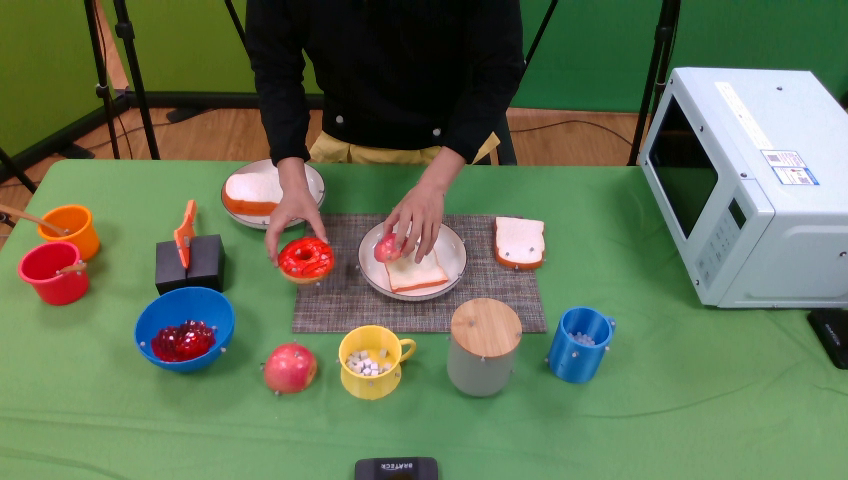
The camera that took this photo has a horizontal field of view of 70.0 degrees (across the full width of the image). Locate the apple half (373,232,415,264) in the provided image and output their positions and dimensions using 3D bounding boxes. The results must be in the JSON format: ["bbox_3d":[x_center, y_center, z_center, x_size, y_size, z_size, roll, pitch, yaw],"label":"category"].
[{"bbox_3d":[-0.060,0.005,1.082,0.081,0.033,0.081,-10,34,7],"label":"apple half"}]

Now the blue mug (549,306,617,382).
[{"bbox_3d":[0.269,0.166,0.998,0.116,0.106,0.082,-19,51,-21],"label":"blue mug"}]

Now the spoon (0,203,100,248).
[{"bbox_3d":[-0.683,-0.031,1.088,0.195,0.021,0.041,33,33,-38],"label":"spoon"}]

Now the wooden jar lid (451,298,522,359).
[{"bbox_3d":[0.093,0.135,0.914,0.108,0.021,0.107,2,48,-3],"label":"wooden jar lid"}]

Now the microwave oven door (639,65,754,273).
[{"bbox_3d":[0.522,-0.147,1.192,0.039,0.245,0.353,0,47,-3],"label":"microwave oven door"}]

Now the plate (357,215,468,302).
[{"bbox_3d":[-0.021,0.037,1.141,0.208,0.039,0.206,2,46,-2],"label":"plate"}]

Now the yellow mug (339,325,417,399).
[{"bbox_3d":[-0.072,0.190,0.978,0.131,0.064,0.099,-17,50,-20],"label":"yellow mug"}]

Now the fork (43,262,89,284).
[{"bbox_3d":[-0.599,0.053,1.013,0.207,0.019,0.028,-14,30,45],"label":"fork"}]

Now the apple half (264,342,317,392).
[{"bbox_3d":[-0.214,0.198,0.970,0.074,0.053,0.080,19,48,10],"label":"apple half"}]

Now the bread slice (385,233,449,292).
[{"bbox_3d":[-0.026,0.039,1.140,0.107,0.018,0.133,-12,47,-15],"label":"bread slice"}]

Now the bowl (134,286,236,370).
[{"bbox_3d":[-0.377,0.155,0.981,0.151,0.077,0.150,2,46,-2],"label":"bowl"}]

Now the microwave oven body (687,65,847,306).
[{"bbox_3d":[0.669,-0.111,1.176,0.326,0.261,0.439,0,46,-3],"label":"microwave oven body"}]

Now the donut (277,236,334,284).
[{"bbox_3d":[-0.206,0.034,1.056,0.099,0.048,0.098,0,46,0],"label":"donut"}]

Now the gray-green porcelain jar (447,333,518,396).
[{"bbox_3d":[0.091,0.178,0.960,0.106,0.127,0.105,2,46,-2],"label":"gray-green porcelain jar"}]

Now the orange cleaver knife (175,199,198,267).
[{"bbox_3d":[-0.438,-0.017,1.138,0.012,0.077,0.210,-14,27,-7],"label":"orange cleaver knife"}]

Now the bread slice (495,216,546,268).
[{"bbox_3d":[0.194,0.002,1.205,0.105,0.019,0.131,5,45,2],"label":"bread slice"}]

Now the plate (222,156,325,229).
[{"bbox_3d":[-0.308,-0.095,1.251,0.209,0.038,0.208,2,47,-2],"label":"plate"}]

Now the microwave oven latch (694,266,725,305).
[{"bbox_3d":[0.523,0.082,1.115,0.030,0.029,0.078,3,46,0],"label":"microwave oven latch"}]
